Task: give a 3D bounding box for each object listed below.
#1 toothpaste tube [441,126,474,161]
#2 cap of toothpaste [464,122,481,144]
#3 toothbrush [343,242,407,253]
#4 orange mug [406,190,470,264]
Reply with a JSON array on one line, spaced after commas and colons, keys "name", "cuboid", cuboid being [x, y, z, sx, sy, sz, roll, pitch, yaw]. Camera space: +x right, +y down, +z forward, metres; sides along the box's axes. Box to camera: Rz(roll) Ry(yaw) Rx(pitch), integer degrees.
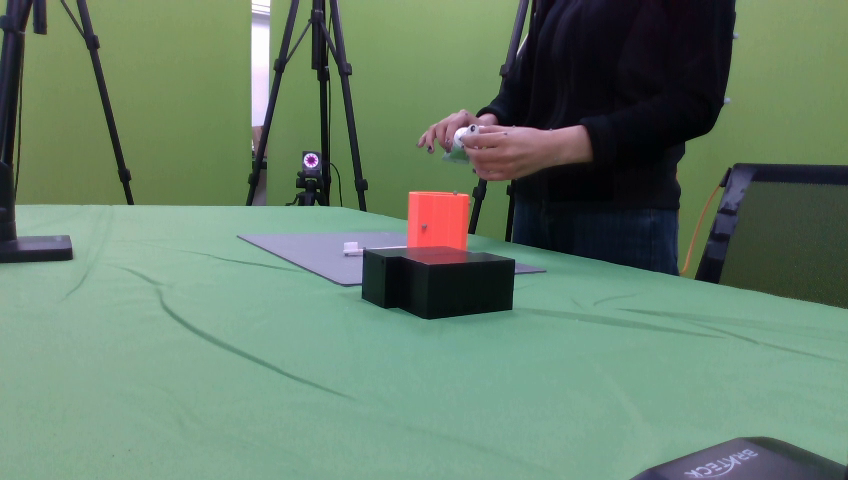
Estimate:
[{"name": "toothpaste tube", "cuboid": [0.067, -0.166, 1.072, 0.055, 0.034, 0.165, 13, -8, -3]}, {"name": "cap of toothpaste", "cuboid": [0.078, -0.174, 0.985, 0.037, 0.037, 0.011, -4, 22, -42]}, {"name": "toothbrush", "cuboid": [-0.039, 0.010, 0.905, 0.183, 0.016, 0.014, -1, -7, -35]}, {"name": "orange mug", "cuboid": [0.027, -0.023, 0.866, 0.083, 0.101, 0.126, 6, 12, 24]}]
